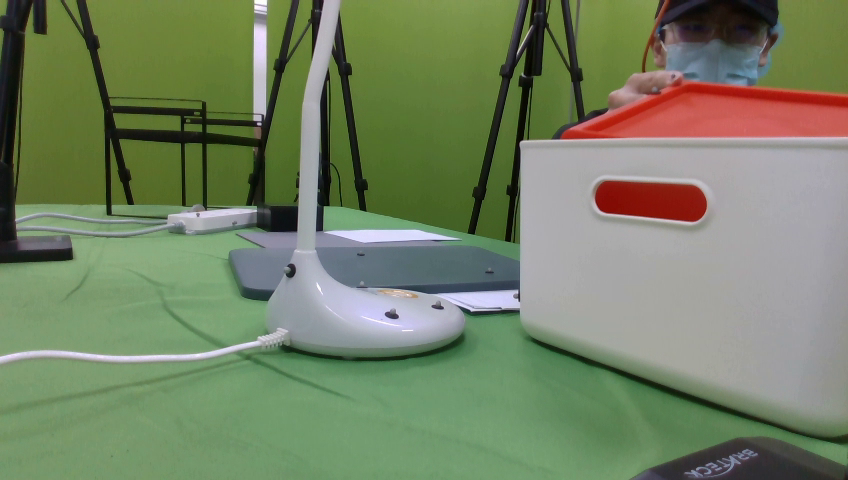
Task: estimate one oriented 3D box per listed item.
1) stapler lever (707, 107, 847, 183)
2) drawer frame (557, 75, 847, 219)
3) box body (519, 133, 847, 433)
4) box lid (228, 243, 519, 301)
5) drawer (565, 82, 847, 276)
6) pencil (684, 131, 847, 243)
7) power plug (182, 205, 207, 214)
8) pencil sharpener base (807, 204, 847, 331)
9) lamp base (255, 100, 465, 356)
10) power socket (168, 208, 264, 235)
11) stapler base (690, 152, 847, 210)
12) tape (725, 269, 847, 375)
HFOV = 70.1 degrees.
[{"bbox_3d":[0.283,-0.079,0.484,0.027,0.040,0.117,-19,29,-25],"label":"stapler lever"},{"bbox_3d":[0.244,-0.063,0.461,0.200,0.083,0.214,18,33,39],"label":"drawer frame"},{"bbox_3d":[0.279,0.005,0.485,0.366,0.160,0.253,-3,9,-36],"label":"box body"},{"bbox_3d":[-0.044,0.033,0.757,0.373,0.015,0.262,-1,9,-22],"label":"box lid"},{"bbox_3d":[0.245,-0.062,0.463,0.193,0.073,0.212,19,33,39],"label":"drawer"},{"bbox_3d":[0.266,-0.045,0.470,0.012,0.012,0.193,-1,33,-22],"label":"pencil"},{"bbox_3d":[-0.456,-0.041,1.195,0.052,0.035,0.072,0,40,24],"label":"power plug"},{"bbox_3d":[0.385,0.025,0.519,0.062,0.107,0.076,-4,9,-43],"label":"pencil sharpener base"},{"bbox_3d":[-0.051,-0.014,0.466,0.160,0.180,0.180,7,11,33],"label":"lamp base"},{"bbox_3d":[-0.381,-0.038,1.129,0.072,0.032,0.227,4,8,17],"label":"power socket"},{"bbox_3d":[0.283,-0.058,0.495,0.041,0.024,0.130,-19,30,-25],"label":"stapler base"},{"bbox_3d":[0.290,0.061,0.452,0.117,0.052,0.117,13,5,-1],"label":"tape"}]
